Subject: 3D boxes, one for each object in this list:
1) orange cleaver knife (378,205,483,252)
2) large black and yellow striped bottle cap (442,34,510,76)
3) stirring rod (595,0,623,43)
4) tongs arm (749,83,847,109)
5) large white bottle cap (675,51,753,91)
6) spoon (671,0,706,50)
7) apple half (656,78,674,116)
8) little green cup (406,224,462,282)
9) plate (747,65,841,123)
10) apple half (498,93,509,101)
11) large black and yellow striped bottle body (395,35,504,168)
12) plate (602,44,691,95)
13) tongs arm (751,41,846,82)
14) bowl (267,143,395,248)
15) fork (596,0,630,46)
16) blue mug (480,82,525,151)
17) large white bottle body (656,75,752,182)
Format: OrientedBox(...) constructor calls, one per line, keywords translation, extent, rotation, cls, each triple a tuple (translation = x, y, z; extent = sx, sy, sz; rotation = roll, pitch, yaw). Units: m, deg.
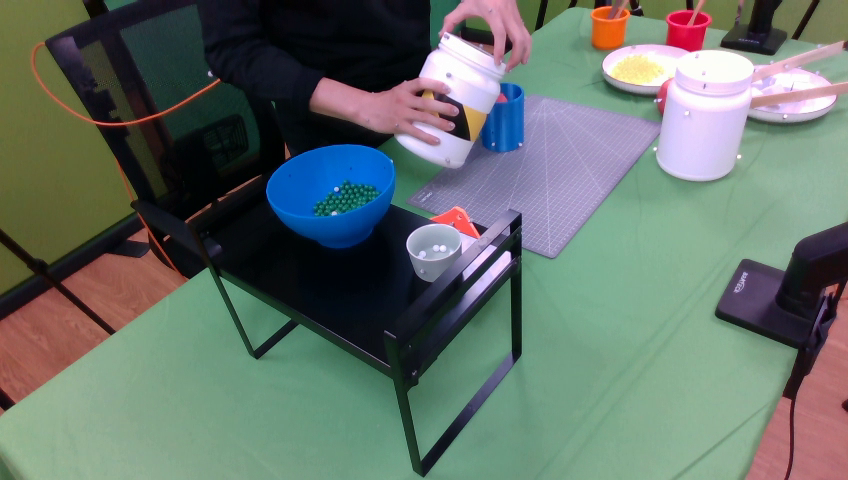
OrientedBox(translation=(0.005, -0.010, 0.944), extent=(0.210, 0.077, 0.012), rotation=(-5, 23, 47), cls="orange cleaver knife")
OrientedBox(translation=(0.083, -0.295, 0.962), extent=(0.115, 0.019, 0.114), rotation=(23, 21, -9), cls="large black and yellow striped bottle cap")
OrientedBox(translation=(0.460, -0.556, 1.459), extent=(0.014, 0.006, 0.176), rotation=(30, 93, 23), cls="stirring rod")
OrientedBox(translation=(0.734, -0.280, 1.133), extent=(0.388, 0.028, 0.028), rotation=(-9, 47, -5), cls="tongs arm")
OrientedBox(translation=(0.463, -0.271, 0.967), extent=(0.115, 0.018, 0.114), rotation=(-4, 40, 3), cls="large white bottle cap")
OrientedBox(translation=(0.629, -0.520, 1.394), extent=(0.041, 0.022, 0.193), rotation=(30, 97, 34), cls="spoon")
OrientedBox(translation=(0.488, -0.281, 1.192), extent=(0.053, 0.075, 0.081), rotation=(24, 54, 37), cls="apple half")
OrientedBox(translation=(0.012, 0.015, 0.668), extent=(0.061, 0.039, 0.061), rotation=(-4, 40, 4), cls="little green cup")
OrientedBox(translation=(0.694, -0.283, 1.189), extent=(0.207, 0.039, 0.206), rotation=(-4, 40, 4), cls="plate")
OrientedBox(translation=(0.141, -0.238, 1.158), extent=(0.033, 0.081, 0.080), rotation=(-13, 40, -18), cls="apple half")
OrientedBox(translation=(0.046, -0.226, 0.992), extent=(0.131, 0.184, 0.130), rotation=(24, 21, -9), cls="large black and yellow striped bottle body")
OrientedBox(translation=(0.495, -0.367, 1.317), extent=(0.209, 0.038, 0.208), rotation=(-4, 40, 4), cls="plate")
OrientedBox(translation=(0.708, -0.331, 1.193), extent=(0.386, 0.026, 0.050), rotation=(-18, 45, -16), cls="tongs arm")
OrientedBox(translation=(-0.104, -0.043, 0.726), extent=(0.151, 0.077, 0.150), rotation=(-4, 40, 4), cls="bowl")
OrientedBox(translation=(0.481, -0.556, 1.452), extent=(0.028, 0.019, 0.207), rotation=(40, 103, 40), cls="fork")
OrientedBox(translation=(0.138, -0.241, 1.169), extent=(0.116, 0.106, 0.082), rotation=(10, 44, 21), cls="blue mug")
OrientedBox(translation=(0.472, -0.207, 1.022), extent=(0.130, 0.185, 0.130), rotation=(-4, 41, 4), cls="large white bottle body")
